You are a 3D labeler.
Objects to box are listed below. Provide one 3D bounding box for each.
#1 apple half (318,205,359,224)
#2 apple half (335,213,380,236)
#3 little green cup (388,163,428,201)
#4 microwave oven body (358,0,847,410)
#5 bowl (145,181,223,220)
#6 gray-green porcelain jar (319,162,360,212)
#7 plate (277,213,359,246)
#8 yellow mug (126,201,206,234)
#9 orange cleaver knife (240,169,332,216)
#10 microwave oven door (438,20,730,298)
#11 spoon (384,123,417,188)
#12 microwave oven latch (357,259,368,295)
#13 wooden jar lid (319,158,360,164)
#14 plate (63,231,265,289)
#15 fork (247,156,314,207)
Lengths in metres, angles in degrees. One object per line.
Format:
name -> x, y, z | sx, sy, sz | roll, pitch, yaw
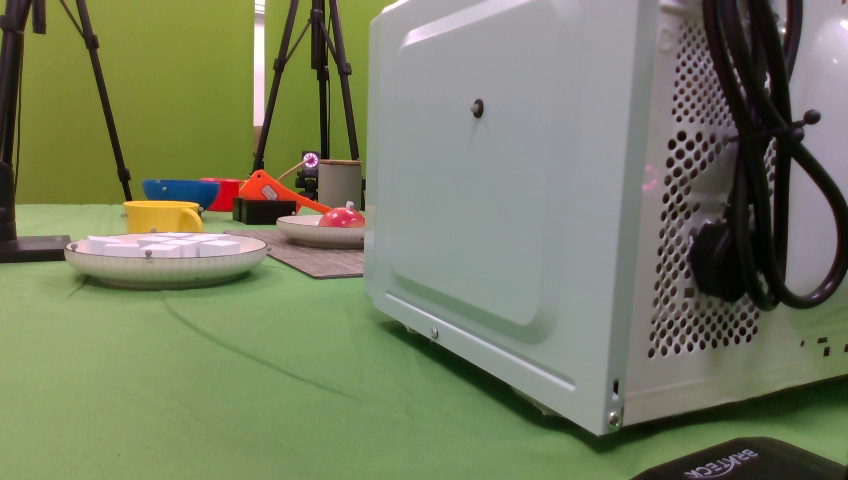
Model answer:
apple half -> -0.126, -0.028, 0.954 | 0.081, 0.053, 0.074 | -2, 11, -33
apple half -> -0.112, -0.029, 1.034 | 0.081, 0.033, 0.081 | 0, 10, 0
little green cup -> -0.024, -0.095, 1.003 | 0.061, 0.038, 0.061 | -33, -15, -10
microwave oven body -> 0.210, -0.051, 0.471 | 0.444, 0.260, 0.324 | -1, 7, -28
bowl -> -0.499, -0.081, 1.261 | 0.151, 0.077, 0.151 | 2, 7, 0
gray-green porcelain jar -> -0.204, -0.126, 1.489 | 0.106, 0.126, 0.106 | 2, 7, 0
plate -> -0.135, -0.018, 0.993 | 0.209, 0.038, 0.209 | 2, 7, 0
yellow mug -> -0.360, -0.019, 0.866 | 0.130, 0.064, 0.100 | 6, 9, 27
orange cleaver knife -> -0.287, -0.082, 1.298 | 0.212, 0.077, 0.012 | 25, -2, -31
microwave oven door -> 0.181, -0.076, 0.618 | 0.358, 0.243, 0.039 | -2, 8, -28
spoon -> -0.045, -0.151, 1.061 | 0.042, 0.021, 0.193 | 17, 39, -31
microwave oven latch -> -0.019, 0.031, 0.529 | 0.079, 0.029, 0.030 | -1, 7, -26
wooden jar lid -> -0.203, -0.189, 1.482 | 0.108, 0.020, 0.108 | 2, 10, 0
plate -> -0.288, 0.021, 0.687 | 0.208, 0.039, 0.207 | 2, 8, 0
fork -> -0.360, -0.147, 1.523 | 0.207, 0.018, 0.028 | -43, 15, -7
